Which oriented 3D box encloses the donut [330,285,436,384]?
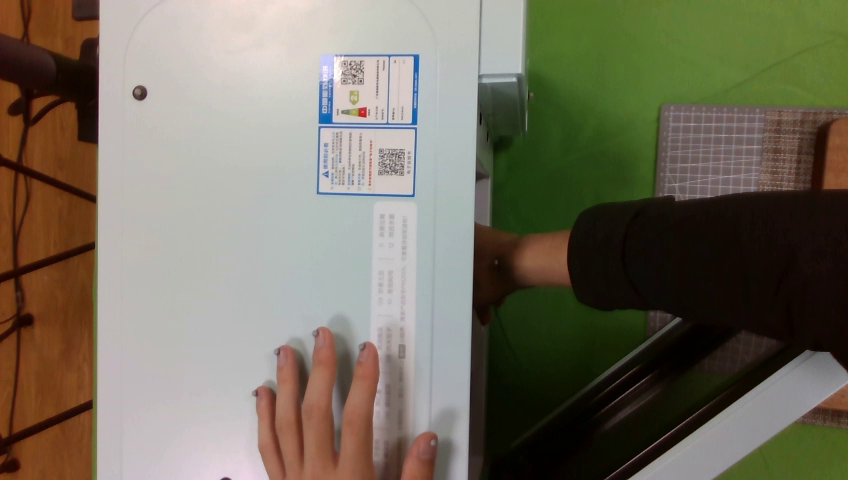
[{"bbox_3d":[-0.038,0.087,0.559,0.099,0.048,0.099,0,112,-1],"label":"donut"}]

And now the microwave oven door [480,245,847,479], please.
[{"bbox_3d":[0.185,0.132,0.484,0.356,0.244,0.039,-40,84,8],"label":"microwave oven door"}]

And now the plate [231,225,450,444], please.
[{"bbox_3d":[-0.078,0.088,0.579,0.207,0.039,0.207,0,93,5],"label":"plate"}]

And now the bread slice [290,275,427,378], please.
[{"bbox_3d":[-0.066,0.087,0.600,0.132,0.019,0.105,3,103,-5],"label":"bread slice"}]

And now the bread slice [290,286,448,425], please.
[{"bbox_3d":[-0.051,0.106,0.513,0.134,0.018,0.107,-19,92,22],"label":"bread slice"}]

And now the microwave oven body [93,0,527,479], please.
[{"bbox_3d":[-0.081,0.024,0.530,0.325,0.260,0.441,2,92,9],"label":"microwave oven body"}]

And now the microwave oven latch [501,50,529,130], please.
[{"bbox_3d":[0.088,-0.149,0.594,0.030,0.029,0.079,0,92,9],"label":"microwave oven latch"}]
